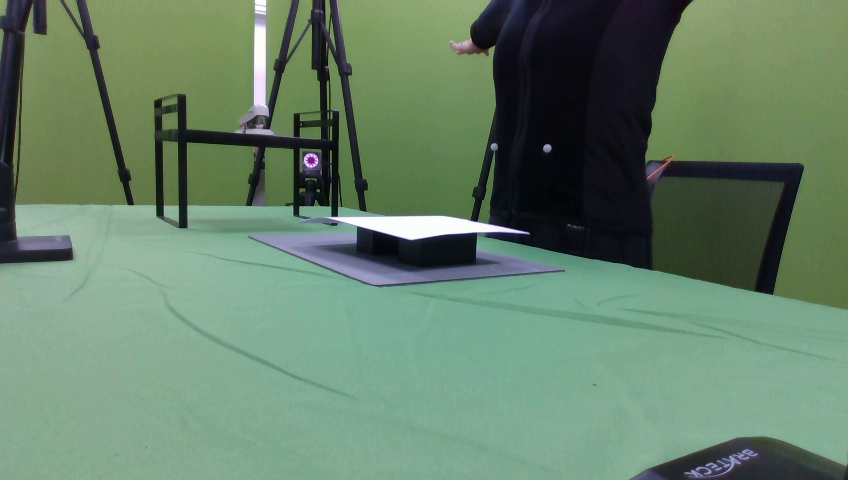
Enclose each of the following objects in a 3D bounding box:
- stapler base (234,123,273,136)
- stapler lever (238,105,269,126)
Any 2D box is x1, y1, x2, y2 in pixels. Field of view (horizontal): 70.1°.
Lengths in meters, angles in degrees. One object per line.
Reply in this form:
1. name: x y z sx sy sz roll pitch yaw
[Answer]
1. stapler base: -0.344 -0.224 1.222 0.041 0.024 0.130 1 6 -35
2. stapler lever: -0.344 -0.249 1.220 0.027 0.040 0.117 1 6 -35
